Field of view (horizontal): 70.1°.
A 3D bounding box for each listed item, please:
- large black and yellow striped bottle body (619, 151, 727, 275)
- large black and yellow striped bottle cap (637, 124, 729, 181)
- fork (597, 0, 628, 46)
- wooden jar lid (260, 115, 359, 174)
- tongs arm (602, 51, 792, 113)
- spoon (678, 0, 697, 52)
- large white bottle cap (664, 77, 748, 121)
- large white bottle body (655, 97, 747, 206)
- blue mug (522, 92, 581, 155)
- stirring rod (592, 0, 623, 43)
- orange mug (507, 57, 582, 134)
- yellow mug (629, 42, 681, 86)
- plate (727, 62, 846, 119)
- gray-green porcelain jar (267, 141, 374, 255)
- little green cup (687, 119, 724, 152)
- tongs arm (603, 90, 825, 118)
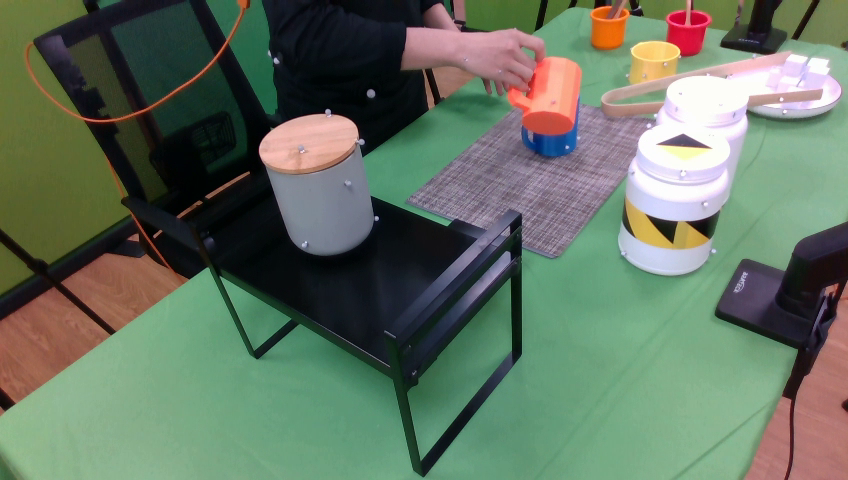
[{"bbox_3d":[0.354,-0.056,0.865,0.131,0.185,0.130,-4,41,4],"label":"large black and yellow striped bottle body"},{"bbox_3d":[0.346,-0.119,0.810,0.115,0.019,0.114,-5,41,5],"label":"large black and yellow striped bottle cap"},{"bbox_3d":[0.479,-0.558,1.455,0.028,0.019,0.207,35,100,38],"label":"fork"},{"bbox_3d":[-0.124,-0.101,0.662,0.108,0.021,0.108,-4,41,4],"label":"wooden jar lid"},{"bbox_3d":[0.552,-0.320,1.224,0.384,0.027,0.050,-10,43,7],"label":"tongs arm"},{"bbox_3d":[0.614,-0.526,1.402,0.041,0.022,0.193,3,86,11],"label":"spoon"},{"bbox_3d":[0.421,-0.212,0.905,0.115,0.018,0.114,-4,40,4],"label":"large white bottle cap"},{"bbox_3d":[0.430,-0.148,0.959,0.130,0.185,0.130,-4,41,4],"label":"large white bottle body"},{"bbox_3d":[0.233,-0.219,1.127,0.117,0.106,0.081,-22,43,-16],"label":"blue mug"},{"bbox_3d":[0.460,-0.557,1.461,0.014,0.176,0.006,35,11,22],"label":"stirring rod"},{"bbox_3d":[0.197,-0.244,0.997,0.127,0.083,0.100,21,74,-23],"label":"orange mug"},{"bbox_3d":[0.495,-0.389,1.321,0.100,0.064,0.130,-14,40,-6],"label":"yellow mug"},{"bbox_3d":[0.709,-0.292,1.197,0.207,0.039,0.206,-4,40,4],"label":"plate"},{"bbox_3d":[-0.116,-0.054,0.703,0.106,0.127,0.105,-4,40,4],"label":"gray-green porcelain jar"},{"bbox_3d":[0.514,-0.191,1.109,0.061,0.039,0.061,-5,40,5],"label":"little green cup"},{"bbox_3d":[0.546,-0.262,1.163,0.386,0.028,0.028,-1,49,18],"label":"tongs arm"}]
